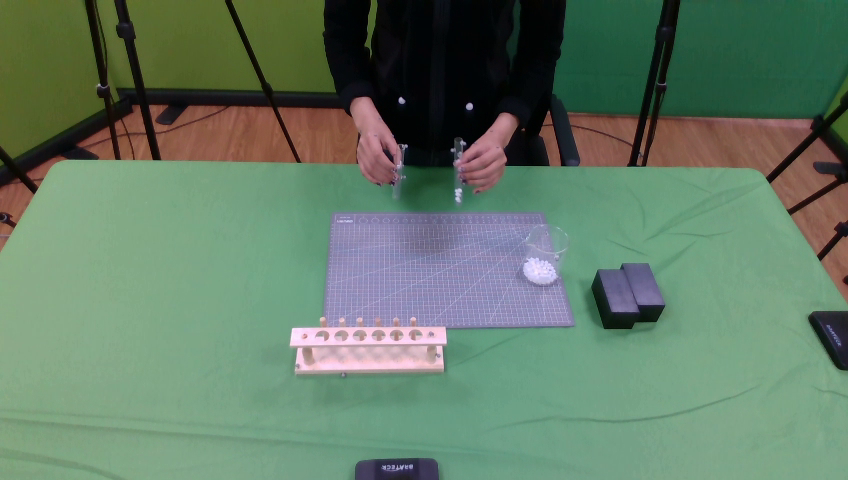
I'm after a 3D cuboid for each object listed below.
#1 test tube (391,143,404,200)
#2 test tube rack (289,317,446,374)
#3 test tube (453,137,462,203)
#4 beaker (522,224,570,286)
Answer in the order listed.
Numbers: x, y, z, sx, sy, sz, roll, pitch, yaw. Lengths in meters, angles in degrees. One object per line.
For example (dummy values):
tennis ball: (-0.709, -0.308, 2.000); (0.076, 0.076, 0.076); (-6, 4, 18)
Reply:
test tube: (-0.050, -0.125, 1.131); (0.017, 0.151, 0.017); (4, 56, -5)
test tube rack: (-0.089, 0.167, 0.988); (0.242, 0.085, 0.066); (0, 46, -4)
test tube: (0.062, -0.128, 1.138); (0.017, 0.151, 0.017); (-1, 44, 1)
beaker: (0.221, 0.032, 1.129); (0.084, 0.101, 0.073); (-6, 46, -9)
